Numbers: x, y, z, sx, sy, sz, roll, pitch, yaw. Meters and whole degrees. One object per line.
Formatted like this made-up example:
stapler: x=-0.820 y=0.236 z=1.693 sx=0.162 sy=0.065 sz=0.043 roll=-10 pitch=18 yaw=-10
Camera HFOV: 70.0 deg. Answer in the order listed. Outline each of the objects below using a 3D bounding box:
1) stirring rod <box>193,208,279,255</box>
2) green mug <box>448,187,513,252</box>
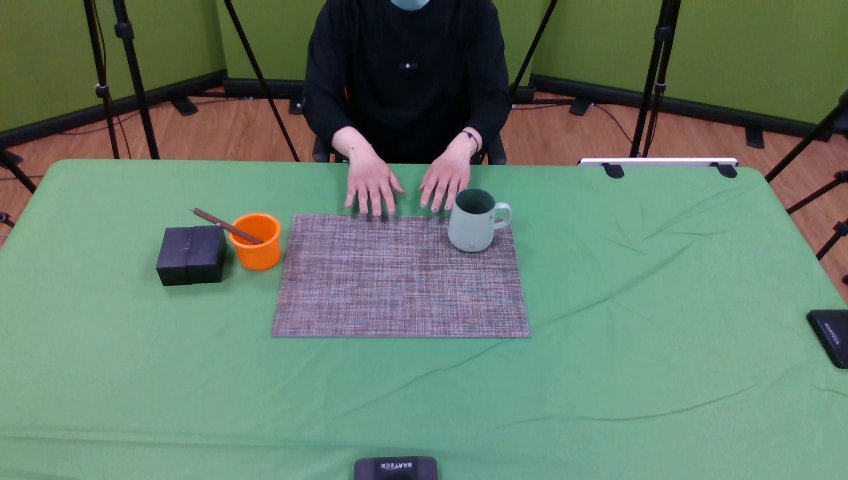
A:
stirring rod: x=-0.340 y=-0.013 z=1.107 sx=0.177 sy=0.006 sz=0.014 roll=32 pitch=29 yaw=-34
green mug: x=0.112 y=-0.041 z=1.180 sx=0.125 sy=0.105 sz=0.092 roll=-8 pitch=47 yaw=-11
